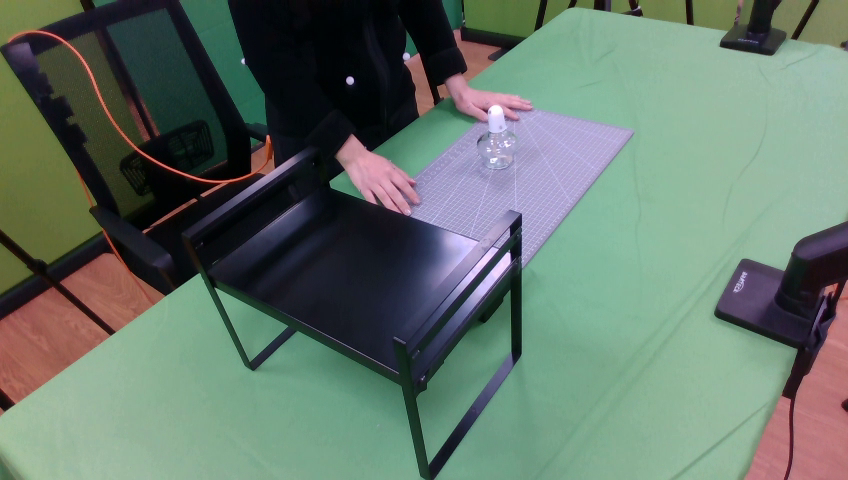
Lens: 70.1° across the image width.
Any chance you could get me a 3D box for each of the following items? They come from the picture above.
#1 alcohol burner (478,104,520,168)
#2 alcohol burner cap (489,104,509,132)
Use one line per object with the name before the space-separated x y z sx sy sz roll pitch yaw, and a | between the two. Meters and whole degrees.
alcohol burner | 0.136 -0.193 1.107 0.078 0.119 0.077 -5 39 4
alcohol burner cap | 0.132 -0.221 1.083 0.034 0.048 0.033 -9 40 8
